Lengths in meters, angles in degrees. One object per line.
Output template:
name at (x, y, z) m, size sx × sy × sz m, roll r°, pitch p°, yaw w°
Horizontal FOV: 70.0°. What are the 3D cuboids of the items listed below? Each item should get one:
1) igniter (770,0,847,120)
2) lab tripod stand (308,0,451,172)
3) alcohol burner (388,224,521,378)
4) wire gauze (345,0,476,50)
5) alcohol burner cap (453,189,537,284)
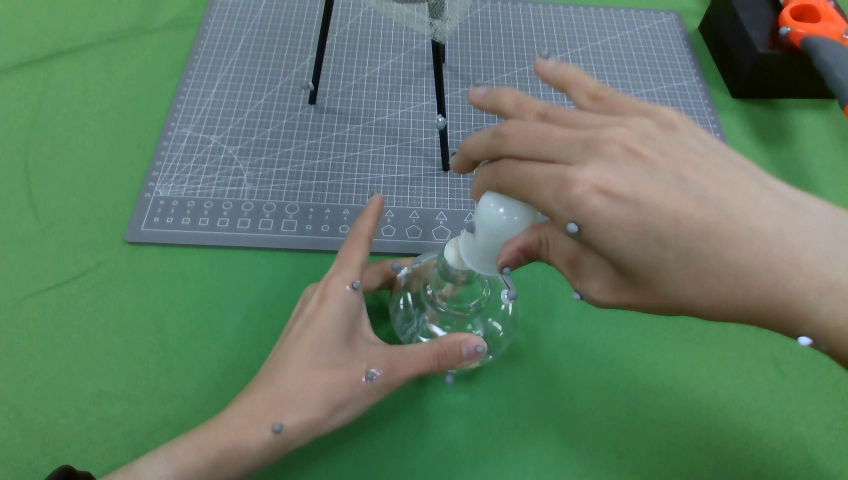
igniter at (0.320, -0.196, 0.517) m, size 0.057 × 0.025 × 0.273 m, roll -2°, pitch 53°, yaw -2°
lab tripod stand at (-0.015, -0.140, 0.443) m, size 0.148 × 0.132 × 0.147 m, roll 3°, pitch 55°, yaw -4°
alcohol burner at (0.018, 0.032, 0.342) m, size 0.078 × 0.120 × 0.077 m, roll 1°, pitch 56°, yaw -1°
wire gauze at (-0.016, -0.180, 0.389) m, size 0.124 × 0.011 × 0.121 m, roll 26°, pitch 58°, yaw 11°
alcohol burner cap at (0.034, -0.004, 0.279) m, size 0.034 × 0.048 × 0.033 m, roll 6°, pitch 57°, yaw -9°
